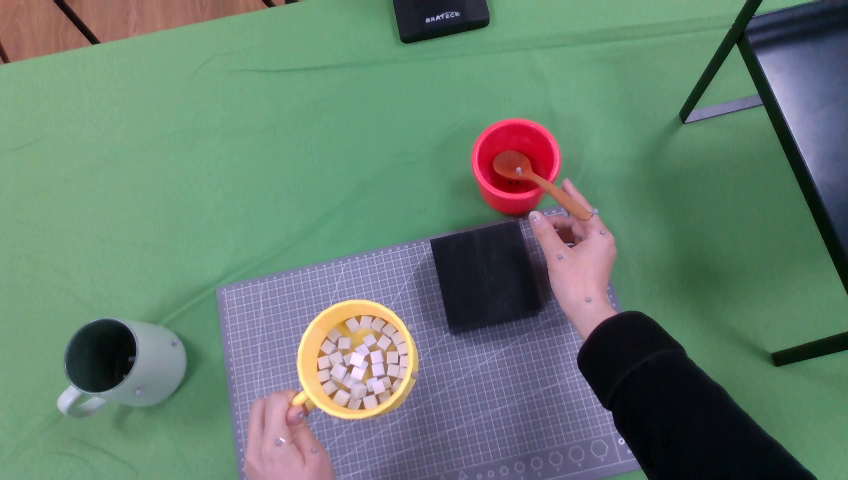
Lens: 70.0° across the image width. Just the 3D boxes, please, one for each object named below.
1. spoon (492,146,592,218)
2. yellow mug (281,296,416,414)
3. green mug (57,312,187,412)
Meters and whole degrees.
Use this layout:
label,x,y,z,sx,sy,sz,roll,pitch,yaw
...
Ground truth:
label,x,y,z,sx,sy,sz,roll,pitch,yaw
spoon,0.123,-0.066,0.653,0.041,0.192,0.022,-26,119,-6
yellow mug,-0.071,0.113,0.538,0.131,0.064,0.099,-37,77,-7
green mug,-0.331,0.136,0.651,0.125,0.105,0.092,-44,76,-9
